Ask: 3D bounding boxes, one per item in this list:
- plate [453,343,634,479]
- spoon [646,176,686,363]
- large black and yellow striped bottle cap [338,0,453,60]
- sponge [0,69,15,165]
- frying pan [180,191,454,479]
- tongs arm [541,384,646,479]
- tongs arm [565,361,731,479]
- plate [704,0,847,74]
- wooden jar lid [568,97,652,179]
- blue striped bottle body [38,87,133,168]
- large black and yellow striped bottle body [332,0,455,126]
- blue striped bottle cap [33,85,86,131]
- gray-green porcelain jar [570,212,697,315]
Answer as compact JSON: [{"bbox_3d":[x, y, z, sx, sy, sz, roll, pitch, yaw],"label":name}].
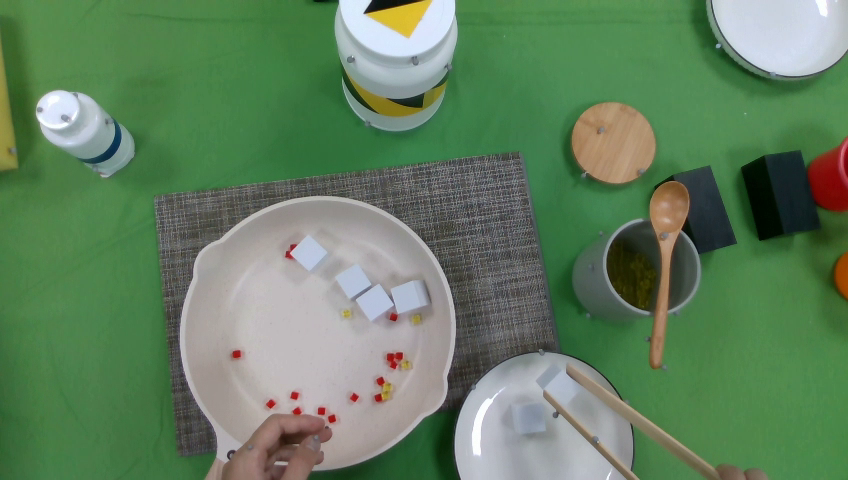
[{"bbox_3d":[0.135,0.223,0.699,0.208,0.039,0.207,1,82,-5],"label":"plate"},{"bbox_3d":[0.243,0.030,0.625,0.042,0.021,0.193,8,84,-7],"label":"spoon"},{"bbox_3d":[-0.028,-0.236,0.602,0.115,0.019,0.114,1,82,-5],"label":"large black and yellow striped bottle cap"},{"bbox_3d":[-0.561,-0.182,0.694,0.118,0.061,0.206,-13,83,-7],"label":"sponge"},{"bbox_3d":[-0.167,0.176,0.645,0.306,0.103,0.486,32,72,2],"label":"frying pan"},{"bbox_3d":[0.257,0.251,0.541,0.051,0.027,0.380,-34,52,-17],"label":"tongs arm"},{"bbox_3d":[0.276,0.236,0.549,0.028,0.028,0.383,-35,52,-22],"label":"tongs arm"},{"bbox_3d":[0.473,-0.318,0.815,0.209,0.038,0.208,1,81,-4],"label":"plate"},{"bbox_3d":[0.236,-0.129,0.775,0.108,0.021,0.108,1,82,-4],"label":"wooden jar lid"},{"bbox_3d":[-0.377,-0.126,0.671,0.063,0.121,0.063,1,80,-4],"label":"blue striped bottle body"},{"bbox_3d":[-0.035,-0.221,0.684,0.131,0.184,0.130,1,80,-4],"label":"large black and yellow striped bottle body"},{"bbox_3d":[-0.374,-0.136,0.621,0.044,0.020,0.044,1,82,-5],"label":"blue striped bottle cap"},{"bbox_3d":[0.231,0.032,0.694,0.106,0.127,0.105,1,80,-4],"label":"gray-green porcelain jar"}]
